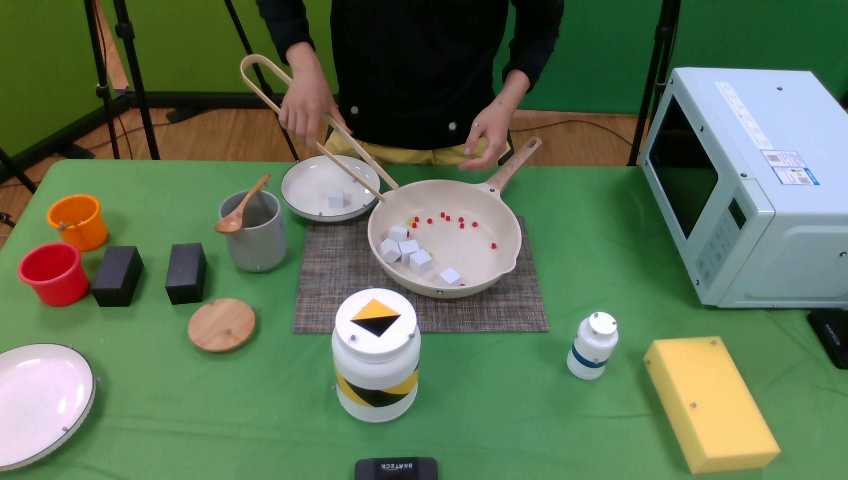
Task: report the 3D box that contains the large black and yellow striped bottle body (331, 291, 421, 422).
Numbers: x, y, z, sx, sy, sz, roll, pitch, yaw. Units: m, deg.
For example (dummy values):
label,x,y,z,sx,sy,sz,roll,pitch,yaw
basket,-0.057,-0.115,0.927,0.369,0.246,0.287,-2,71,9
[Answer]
label,x,y,z,sx,sy,sz,roll,pitch,yaw
large black and yellow striped bottle body,-0.071,0.175,0.911,0.131,0.185,0.130,2,47,-2

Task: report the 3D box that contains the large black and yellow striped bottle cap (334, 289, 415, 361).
label,x,y,z,sx,sy,sz,roll,pitch,yaw
large black and yellow striped bottle cap,-0.069,0.117,0.850,0.115,0.019,0.114,2,45,-2

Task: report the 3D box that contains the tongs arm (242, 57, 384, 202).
label,x,y,z,sx,sy,sz,roll,pitch,yaw
tongs arm,-0.214,-0.208,1.149,0.387,0.028,0.028,44,77,6

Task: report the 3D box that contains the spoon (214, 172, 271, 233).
label,x,y,z,sx,sy,sz,roll,pitch,yaw
spoon,-0.312,-0.070,1.070,0.041,0.022,0.193,10,43,10

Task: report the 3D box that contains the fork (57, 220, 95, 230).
label,x,y,z,sx,sy,sz,roll,pitch,yaw
fork,-0.624,-0.027,1.086,0.028,0.207,0.018,-3,92,-17

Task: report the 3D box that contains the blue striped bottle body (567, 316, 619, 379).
label,x,y,z,sx,sy,sz,roll,pitch,yaw
blue striped bottle body,0.276,0.168,0.984,0.063,0.121,0.062,2,46,-2

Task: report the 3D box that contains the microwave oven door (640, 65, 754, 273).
label,x,y,z,sx,sy,sz,roll,pitch,yaw
microwave oven door,0.522,-0.147,1.193,0.039,0.245,0.353,0,47,-3

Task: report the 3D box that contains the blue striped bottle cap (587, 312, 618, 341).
label,x,y,z,sx,sy,sz,roll,pitch,yaw
blue striped bottle cap,0.279,0.134,0.947,0.044,0.021,0.044,2,45,-2

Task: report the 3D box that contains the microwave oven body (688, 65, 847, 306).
label,x,y,z,sx,sy,sz,roll,pitch,yaw
microwave oven body,0.669,-0.111,1.176,0.326,0.261,0.439,0,46,-3

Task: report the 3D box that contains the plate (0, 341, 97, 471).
label,x,y,z,sx,sy,sz,roll,pitch,yaw
plate,-0.599,0.247,0.904,0.209,0.038,0.208,2,47,-2

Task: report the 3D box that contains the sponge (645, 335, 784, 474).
label,x,y,z,sx,sy,sz,roll,pitch,yaw
sponge,0.449,0.253,0.956,0.118,0.061,0.205,-4,46,-7

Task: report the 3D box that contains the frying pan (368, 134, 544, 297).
label,x,y,z,sx,sy,sz,roll,pitch,yaw
frying pan,0.104,-0.069,1.205,0.305,0.103,0.487,32,61,23

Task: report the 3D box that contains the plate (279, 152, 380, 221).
label,x,y,z,sx,sy,sz,roll,pitch,yaw
plate,-0.196,-0.108,1.269,0.208,0.039,0.206,2,45,-2

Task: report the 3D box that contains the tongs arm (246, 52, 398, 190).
label,x,y,z,sx,sy,sz,roll,pitch,yaw
tongs arm,-0.197,-0.225,1.156,0.051,0.026,0.384,-41,83,-15

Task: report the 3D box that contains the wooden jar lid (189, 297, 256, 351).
label,x,y,z,sx,sy,sz,roll,pitch,yaw
wooden jar lid,-0.342,0.145,1.033,0.108,0.021,0.107,2,45,-2

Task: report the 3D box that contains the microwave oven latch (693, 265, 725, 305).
label,x,y,z,sx,sy,sz,roll,pitch,yaw
microwave oven latch,0.523,0.081,1.116,0.030,0.029,0.078,2,46,-1

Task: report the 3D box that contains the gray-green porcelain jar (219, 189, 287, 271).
label,x,y,z,sx,sy,sz,roll,pitch,yaw
gray-green porcelain jar,-0.310,-0.014,1.113,0.106,0.127,0.105,2,46,-2
